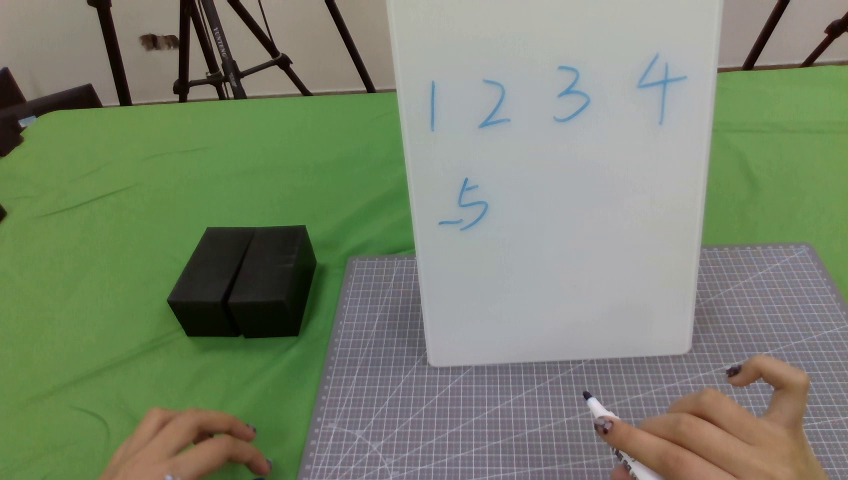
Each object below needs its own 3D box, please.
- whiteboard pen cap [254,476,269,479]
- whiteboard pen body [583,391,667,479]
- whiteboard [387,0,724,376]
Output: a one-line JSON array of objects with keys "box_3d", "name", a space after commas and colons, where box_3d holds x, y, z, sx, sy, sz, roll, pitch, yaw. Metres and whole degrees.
[{"box_3d": [-0.115, 0.189, 0.436, 0.018, 0.018, 0.033, -26, 48, -19], "name": "whiteboard pen cap"}, {"box_3d": [0.128, 0.137, 0.337, 0.017, 0.017, 0.139, -18, 40, -12], "name": "whiteboard pen body"}, {"box_3d": [0.100, -0.060, 0.503, 0.217, 0.307, 0.143, -4, 23, 5], "name": "whiteboard"}]
